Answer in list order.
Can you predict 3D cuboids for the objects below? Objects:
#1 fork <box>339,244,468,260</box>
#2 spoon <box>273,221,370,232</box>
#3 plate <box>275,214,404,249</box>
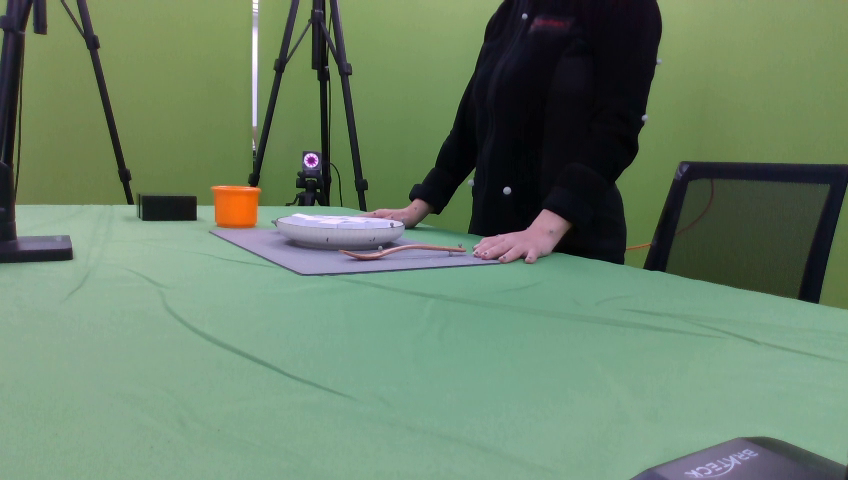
[{"bbox_3d":[-0.024,0.016,0.865,0.208,0.018,0.028,-4,5,-31],"label":"fork"},{"bbox_3d":[-0.187,-0.027,1.132,0.195,0.021,0.041,-3,-10,-34],"label":"spoon"},{"bbox_3d":[-0.135,-0.013,0.982,0.208,0.039,0.207,3,7,0],"label":"plate"}]
